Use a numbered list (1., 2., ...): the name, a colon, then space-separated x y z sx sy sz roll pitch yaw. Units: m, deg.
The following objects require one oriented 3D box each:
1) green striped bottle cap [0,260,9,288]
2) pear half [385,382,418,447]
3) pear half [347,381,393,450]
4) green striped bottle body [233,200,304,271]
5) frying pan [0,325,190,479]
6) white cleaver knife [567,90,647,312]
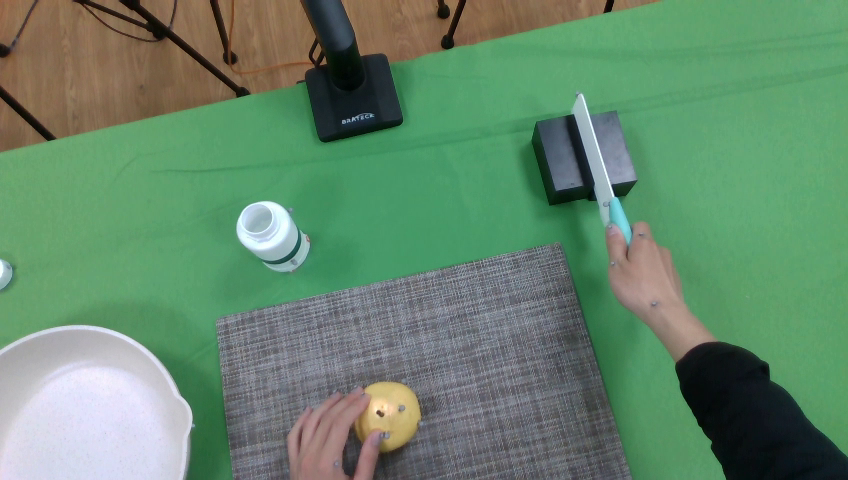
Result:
1. green striped bottle cap: -0.564 0.044 0.784 0.044 0.020 0.044 -1 72 3
2. pear half: -0.023 0.194 0.681 0.031 0.088 0.070 -9 68 1
3. pear half: -0.059 0.194 0.671 0.056 0.110 0.076 -9 68 1
4. green striped bottle body: -0.190 -0.007 0.736 0.063 0.120 0.063 -1 72 2
5. frying pan: -0.375 0.334 0.644 0.307 0.103 0.483 -17 65 -3
6. white cleaver knife: 0.216 -0.052 0.728 0.021 0.066 0.284 -11 71 2
